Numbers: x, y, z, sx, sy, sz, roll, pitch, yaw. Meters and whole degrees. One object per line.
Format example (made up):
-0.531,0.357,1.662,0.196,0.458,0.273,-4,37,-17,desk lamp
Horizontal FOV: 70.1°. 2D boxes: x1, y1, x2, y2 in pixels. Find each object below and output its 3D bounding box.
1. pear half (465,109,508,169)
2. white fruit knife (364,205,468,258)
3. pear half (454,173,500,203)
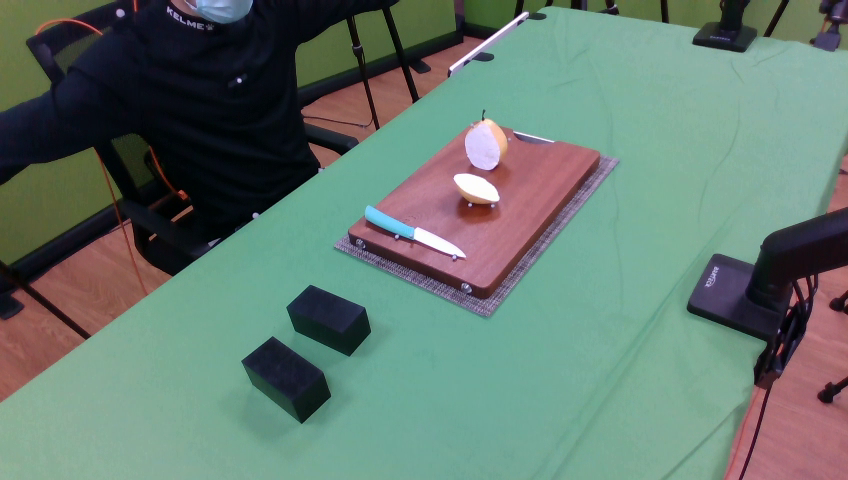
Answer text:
0.112,-0.185,1.055,0.076,0.110,0.056,18,46,22,pear half
-0.017,-0.012,0.943,0.206,0.016,0.027,24,64,29,white fruit knife
0.086,-0.079,0.994,0.071,0.031,0.087,-22,54,-39,pear half
